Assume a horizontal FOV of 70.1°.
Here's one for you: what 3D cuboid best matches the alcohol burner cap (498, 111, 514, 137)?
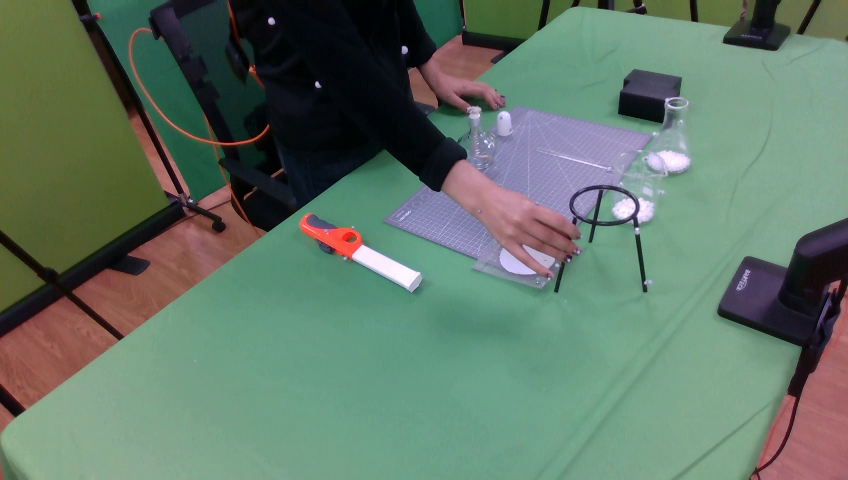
[{"bbox_3d":[0.163,-0.235,1.211,0.034,0.048,0.033,-6,40,6],"label":"alcohol burner cap"}]

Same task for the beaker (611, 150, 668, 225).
[{"bbox_3d":[0.337,-0.079,0.953,0.083,0.101,0.074,25,51,33],"label":"beaker"}]

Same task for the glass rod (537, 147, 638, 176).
[{"bbox_3d":[0.294,-0.145,1.104,0.198,0.008,0.008,22,50,31],"label":"glass rod"}]

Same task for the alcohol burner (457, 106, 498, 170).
[{"bbox_3d":[0.097,-0.192,1.117,0.078,0.119,0.077,-7,39,6],"label":"alcohol burner"}]

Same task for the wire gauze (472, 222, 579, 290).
[{"bbox_3d":[0.158,0.024,0.933,0.120,0.011,0.125,21,49,31],"label":"wire gauze"}]

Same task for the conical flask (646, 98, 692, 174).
[{"bbox_3d":[0.426,-0.180,1.037,0.075,0.122,0.075,-5,40,5],"label":"conical flask"}]

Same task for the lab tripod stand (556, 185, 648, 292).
[{"bbox_3d":[0.245,-0.002,0.842,0.148,0.132,0.147,-6,38,5],"label":"lab tripod stand"}]

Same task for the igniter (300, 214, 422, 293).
[{"bbox_3d":[-0.113,0.016,0.983,0.274,0.025,0.057,26,62,35],"label":"igniter"}]
